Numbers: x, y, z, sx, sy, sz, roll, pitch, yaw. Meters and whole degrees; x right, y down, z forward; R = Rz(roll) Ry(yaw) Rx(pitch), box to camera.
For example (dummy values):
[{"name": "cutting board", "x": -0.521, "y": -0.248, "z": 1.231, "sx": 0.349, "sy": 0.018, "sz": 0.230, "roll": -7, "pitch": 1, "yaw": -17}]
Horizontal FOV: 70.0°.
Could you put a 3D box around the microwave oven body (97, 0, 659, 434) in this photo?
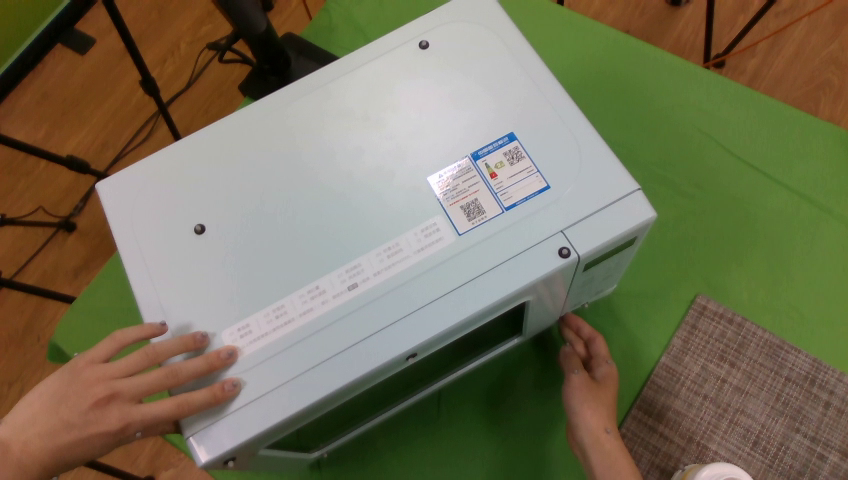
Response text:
[{"name": "microwave oven body", "x": -0.047, "y": -0.014, "z": 0.665, "sx": 0.442, "sy": 0.262, "sz": 0.323, "roll": -29, "pitch": 70, "yaw": -3}]

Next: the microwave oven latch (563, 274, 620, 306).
[{"name": "microwave oven latch", "x": 0.190, "y": 0.051, "z": 0.714, "sx": 0.079, "sy": 0.030, "sz": 0.030, "roll": -23, "pitch": 69, "yaw": -1}]

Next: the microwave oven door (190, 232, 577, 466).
[{"name": "microwave oven door", "x": -0.017, "y": 0.122, "z": 0.606, "sx": 0.356, "sy": 0.245, "sz": 0.039, "roll": -29, "pitch": 68, "yaw": -3}]

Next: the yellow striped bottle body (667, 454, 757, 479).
[{"name": "yellow striped bottle body", "x": 0.287, "y": 0.246, "z": 0.601, "sx": 0.063, "sy": 0.121, "sz": 0.062, "roll": -2, "pitch": 69, "yaw": 7}]
